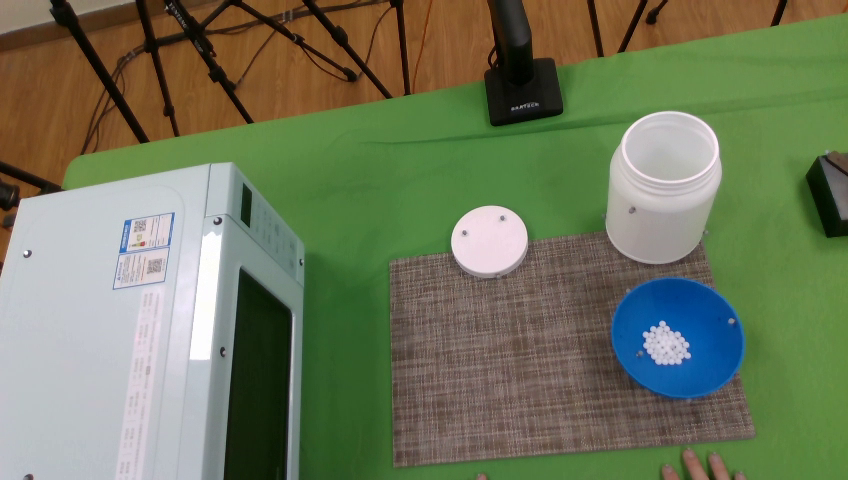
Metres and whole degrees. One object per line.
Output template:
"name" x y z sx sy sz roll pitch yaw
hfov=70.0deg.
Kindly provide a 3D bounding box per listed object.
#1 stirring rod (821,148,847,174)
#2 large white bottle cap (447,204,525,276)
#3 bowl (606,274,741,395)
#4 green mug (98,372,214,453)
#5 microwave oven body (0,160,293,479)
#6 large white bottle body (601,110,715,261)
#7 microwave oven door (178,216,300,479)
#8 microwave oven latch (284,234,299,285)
"stirring rod" 0.584 -0.061 0.769 0.174 0.006 0.014 50 117 27
"large white bottle cap" 0.092 -0.001 0.901 0.114 0.018 0.114 -5 63 10
"bowl" 0.304 0.125 0.757 0.151 0.077 0.150 -5 63 11
"green mug" -0.335 0.215 0.778 0.125 0.106 0.091 -19 63 -2
"microwave oven body" -0.358 0.168 0.781 0.326 0.262 0.438 -9 64 8
"large white bottle body" 0.301 -0.068 0.791 0.130 0.186 0.129 -6 59 10
"microwave oven door" -0.213 0.180 0.738 0.039 0.246 0.352 -10 63 8
"microwave oven latch" -0.207 0.030 0.924 0.030 0.030 0.078 -9 64 8
